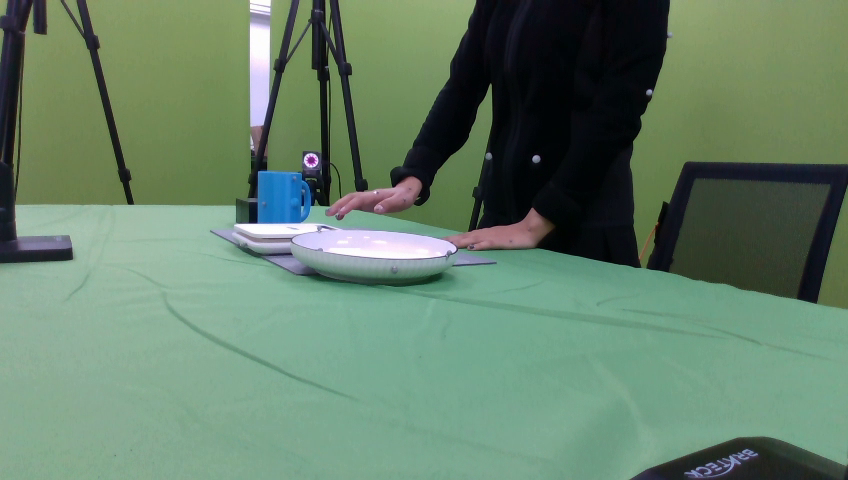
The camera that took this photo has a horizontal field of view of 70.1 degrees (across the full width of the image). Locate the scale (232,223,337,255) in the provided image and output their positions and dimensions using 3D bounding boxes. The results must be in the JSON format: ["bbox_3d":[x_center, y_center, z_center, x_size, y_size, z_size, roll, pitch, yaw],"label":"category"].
[{"bbox_3d":[-0.178,-0.004,0.920,0.202,0.031,0.148,-1,9,-30],"label":"scale"}]

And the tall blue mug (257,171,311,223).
[{"bbox_3d":[-0.259,-0.070,1.107,0.078,0.108,0.107,2,7,5],"label":"tall blue mug"}]

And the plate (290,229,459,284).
[{"bbox_3d":[-0.062,0.020,0.753,0.209,0.038,0.209,3,9,0],"label":"plate"}]
